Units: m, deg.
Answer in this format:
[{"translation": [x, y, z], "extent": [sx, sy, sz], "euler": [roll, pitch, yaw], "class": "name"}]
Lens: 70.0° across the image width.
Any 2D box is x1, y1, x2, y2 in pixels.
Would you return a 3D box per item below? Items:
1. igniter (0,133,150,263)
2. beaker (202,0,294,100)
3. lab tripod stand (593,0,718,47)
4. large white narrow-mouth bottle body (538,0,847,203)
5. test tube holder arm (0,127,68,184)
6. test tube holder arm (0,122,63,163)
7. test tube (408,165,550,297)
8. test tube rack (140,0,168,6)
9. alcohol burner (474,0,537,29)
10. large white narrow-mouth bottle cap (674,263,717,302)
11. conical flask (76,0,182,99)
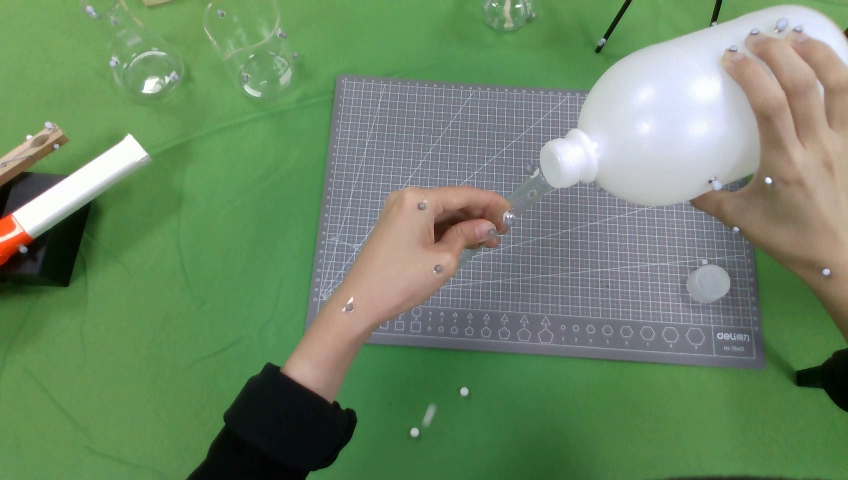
[{"translation": [-0.381, -0.008, 0.557], "extent": [0.276, 0.025, 0.057], "euler": [-40, 79, -16], "class": "igniter"}, {"translation": [-0.181, -0.199, 0.634], "extent": [0.074, 0.101, 0.083], "euler": [18, 73, 6], "class": "beaker"}, {"translation": [0.261, -0.277, 0.651], "extent": [0.148, 0.132, 0.147], "euler": [1, 71, -2], "class": "lab tripod stand"}, {"translation": [0.165, -0.079, 0.390], "extent": [0.195, 0.102, 0.101], "euler": [-21, 73, -11], "class": "large white narrow-mouth bottle body"}, {"translation": [-0.386, -0.077, 0.582], "extent": [0.088, 0.015, 0.010], "euler": [-39, 77, -13], "class": "test tube holder arm"}, {"translation": [-0.423, -0.053, 0.573], "extent": [0.178, 0.015, 0.013], "euler": [-40, 77, -13], "class": "test tube holder arm"}, {"translation": [0.035, -0.001, 0.431], "extent": [0.017, 0.150, 0.017], "euler": [27, 39, -25], "class": "test tube"}, {"translation": [-0.221, -0.350, 0.689], "extent": [0.242, 0.085, 0.066], "euler": [-17, 73, -7], "class": "test tube rack"}, {"translation": [0.092, -0.290, 0.662], "extent": [0.078, 0.120, 0.077], "euler": [1, 70, -2], "class": "alcohol burner"}, {"translation": [0.272, 0.043, 0.605], "extent": [0.038, 0.024, 0.037], "euler": [0, 73, 0], "class": "large white narrow-mouth bottle cap"}, {"translation": [-0.306, -0.206, 0.621], "extent": [0.075, 0.122, 0.075], "euler": [0, 71, -1], "class": "conical flask"}]
